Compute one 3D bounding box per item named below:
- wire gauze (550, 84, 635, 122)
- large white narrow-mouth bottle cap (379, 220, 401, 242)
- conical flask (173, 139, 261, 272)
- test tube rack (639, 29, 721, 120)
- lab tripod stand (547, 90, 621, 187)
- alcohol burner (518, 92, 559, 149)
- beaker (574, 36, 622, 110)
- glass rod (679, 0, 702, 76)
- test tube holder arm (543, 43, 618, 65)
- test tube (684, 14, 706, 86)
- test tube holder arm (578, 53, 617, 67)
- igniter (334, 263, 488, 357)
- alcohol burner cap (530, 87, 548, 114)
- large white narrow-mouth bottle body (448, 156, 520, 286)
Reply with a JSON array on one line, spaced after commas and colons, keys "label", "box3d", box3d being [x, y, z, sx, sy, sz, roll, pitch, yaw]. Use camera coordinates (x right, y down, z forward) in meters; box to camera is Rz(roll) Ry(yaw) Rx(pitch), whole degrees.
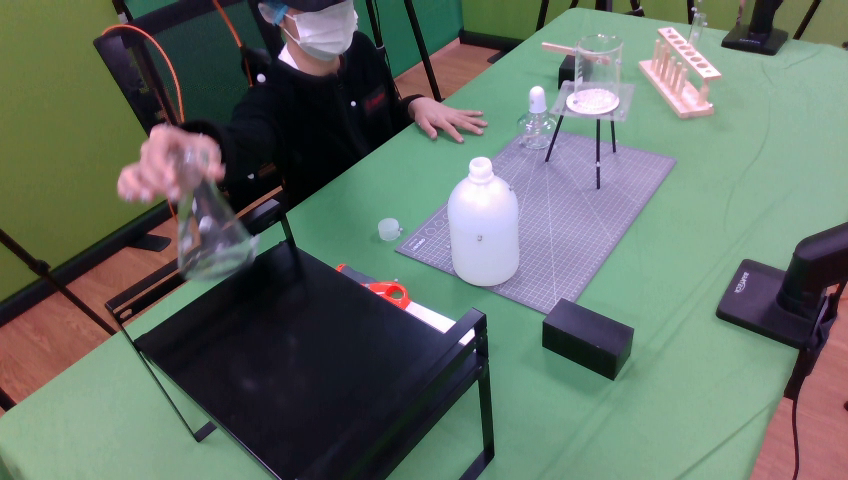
[{"label": "wire gauze", "box3d": [0.285, -0.234, 1.021, 0.124, 0.011, 0.121, 8, 41, 23]}, {"label": "large white narrow-mouth bottle cap", "box3d": [-0.057, -0.015, 1.011, 0.038, 0.024, 0.037, -4, 40, 4]}, {"label": "conical flask", "box3d": [-0.210, -0.035, 0.593, 0.075, 0.122, 0.075, -6, 25, 3]}, {"label": "test tube rack", "box3d": [0.527, -0.351, 1.262, 0.067, 0.085, 0.241, -8, 40, 1]}, {"label": "lab tripod stand", "box3d": [0.289, -0.184, 1.062, 0.148, 0.132, 0.147, -6, 41, 6]}, {"label": "alcohol burner", "box3d": [0.218, -0.235, 1.149, 0.078, 0.119, 0.077, -5, 43, 5]}, {"label": "beaker", "box3d": [0.285, -0.273, 0.990, 0.073, 0.101, 0.084, 15, 46, 27]}, {"label": "glass rod", "box3d": [0.543, -0.417, 1.233, 0.008, 0.200, 0.008, 1, 39, 0]}, {"label": "test tube holder arm", "box3d": [0.345, -0.413, 1.341, 0.177, 0.015, 0.013, 25, 49, 32]}, {"label": "test tube", "box3d": [0.540, -0.378, 1.215, 0.017, 0.151, 0.017, -2, 44, 3]}, {"label": "test tube holder arm", "box3d": [0.376, -0.393, 1.314, 0.087, 0.015, 0.010, 26, 50, 32]}, {"label": "igniter", "box3d": [-0.030, 0.095, 0.872, 0.274, 0.025, 0.057, 23, 60, 31]}, {"label": "alcohol burner cap", "box3d": [0.212, -0.262, 1.126, 0.034, 0.048, 0.033, -9, 36, 7]}, {"label": "large white narrow-mouth bottle body", "box3d": [0.086, -0.032, 0.869, 0.102, 0.195, 0.101, -4, 40, 4]}]
